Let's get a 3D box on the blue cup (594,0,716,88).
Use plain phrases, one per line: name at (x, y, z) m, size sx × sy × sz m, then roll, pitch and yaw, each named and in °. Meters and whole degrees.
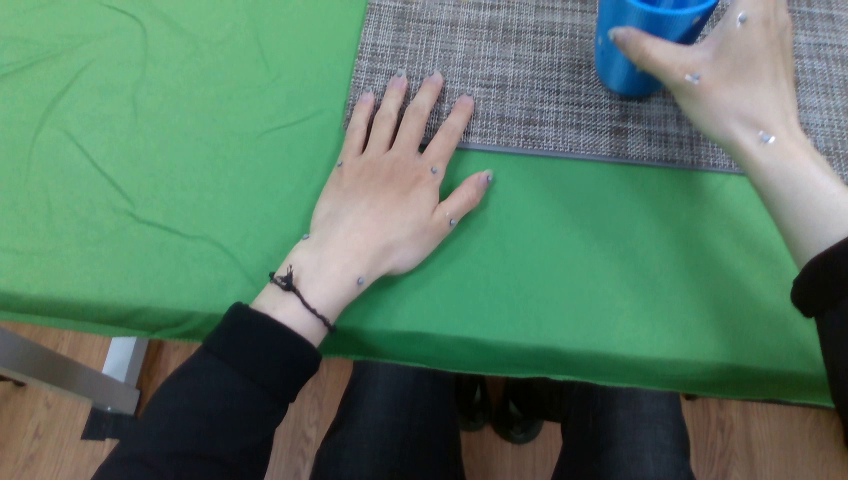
blue cup at (0.170, -0.171, 0.462) m, size 0.092 × 0.101 × 0.092 m, roll -1°, pitch 66°, yaw 3°
